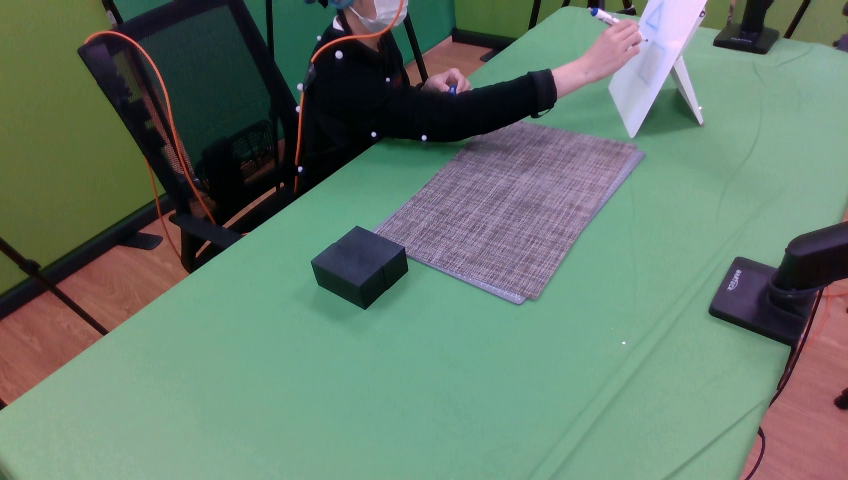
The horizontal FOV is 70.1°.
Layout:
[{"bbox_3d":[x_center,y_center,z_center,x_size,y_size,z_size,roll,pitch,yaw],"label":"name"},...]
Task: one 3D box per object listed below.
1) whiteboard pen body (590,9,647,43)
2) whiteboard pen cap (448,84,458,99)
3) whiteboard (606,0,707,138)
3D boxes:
[{"bbox_3d":[0.360,-0.389,1.107,0.142,0.017,0.017,15,32,-27],"label":"whiteboard pen body"},{"bbox_3d":[0.059,-0.310,1.262,0.018,0.018,0.033,6,47,15],"label":"whiteboard pen cap"},{"bbox_3d":[0.496,-0.358,1.147,0.144,0.305,0.216,12,40,-7],"label":"whiteboard"}]
